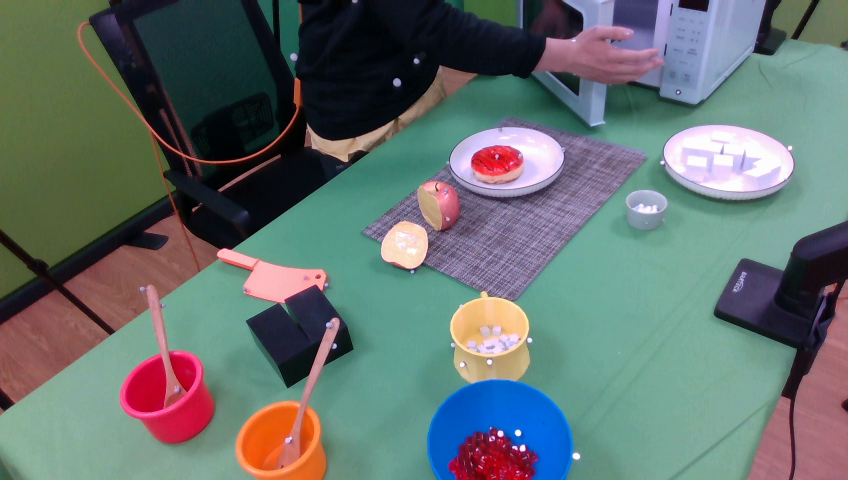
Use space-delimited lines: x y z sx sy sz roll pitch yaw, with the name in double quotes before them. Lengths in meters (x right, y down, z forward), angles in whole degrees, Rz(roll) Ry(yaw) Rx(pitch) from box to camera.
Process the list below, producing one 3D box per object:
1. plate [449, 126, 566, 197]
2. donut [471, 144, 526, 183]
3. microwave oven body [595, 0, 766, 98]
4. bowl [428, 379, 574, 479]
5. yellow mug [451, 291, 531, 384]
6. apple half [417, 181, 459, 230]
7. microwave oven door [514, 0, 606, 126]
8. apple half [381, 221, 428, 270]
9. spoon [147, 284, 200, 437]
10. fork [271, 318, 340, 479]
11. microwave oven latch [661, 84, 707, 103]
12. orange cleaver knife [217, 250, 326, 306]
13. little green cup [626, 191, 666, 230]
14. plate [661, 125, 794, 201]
"plate" 0.150 -0.138 1.097 0.209 0.038 0.208 -4 40 4
"donut" 0.133 -0.139 1.082 0.099 0.048 0.098 -5 38 4
"microwave oven body" 0.472 -0.513 1.317 0.438 0.261 0.327 26 51 34
"bowl" 0.082 0.233 0.644 0.151 0.077 0.150 -4 39 4
"yellow mug" 0.085 0.120 0.786 0.100 0.064 0.130 -7 39 1
"apple half" 0.030 -0.060 0.995 0.053 0.075 0.080 -23 39 -22
"microwave oven door" 0.271 -0.417 1.227 0.039 0.245 0.353 -17 41 -11
"apple half" -0.025 0.012 0.946 0.081 0.033 0.081 -5 72 16
"spoon" -0.318 0.148 0.754 0.042 0.021 0.193 -15 85 -9
"fork" -0.132 0.186 0.676 0.028 0.019 0.207 17 90 28
"microwave oven latch" 0.516 -0.296 1.204 0.078 0.029 0.030 25 51 34
"orange cleaver knife" -0.248 0.059 0.945 0.210 0.012 0.077 12 49 20
"little green cup" 0.352 -0.046 0.963 0.061 0.039 0.061 -4 40 4
"plate" 0.513 -0.128 1.035 0.207 0.039 0.206 -4 40 4
